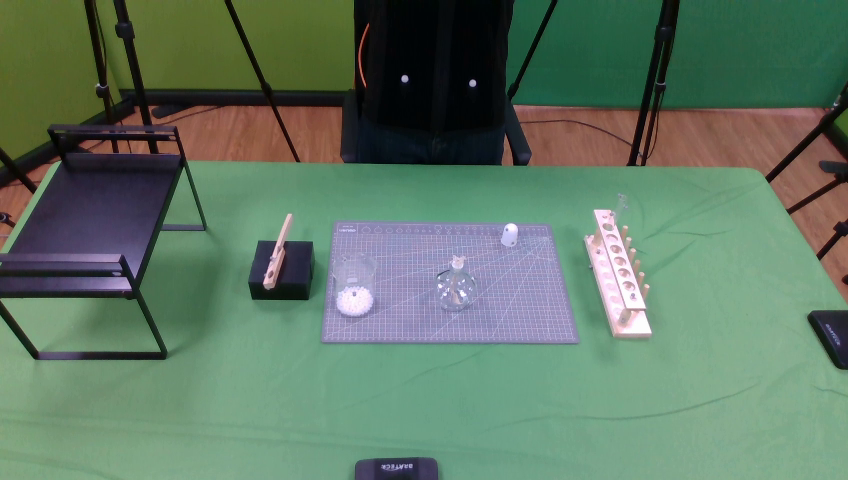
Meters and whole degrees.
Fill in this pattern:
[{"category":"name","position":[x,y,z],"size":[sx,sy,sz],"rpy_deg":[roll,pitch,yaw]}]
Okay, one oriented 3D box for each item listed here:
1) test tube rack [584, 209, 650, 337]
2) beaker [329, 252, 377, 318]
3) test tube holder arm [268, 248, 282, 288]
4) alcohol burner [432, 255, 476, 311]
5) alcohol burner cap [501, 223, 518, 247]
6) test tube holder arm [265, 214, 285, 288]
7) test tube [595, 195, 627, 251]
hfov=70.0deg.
[{"category":"test tube rack","position":[0.365,0.056,1.129],"size":[0.067,0.085,0.240],"rpy_deg":[1,46,-4]},{"category":"beaker","position":[-0.121,0.080,1.055],"size":[0.084,0.101,0.073],"rpy_deg":[-16,50,-19]},{"category":"test tube holder arm","position":[-0.263,0.049,1.068],"size":[0.010,0.015,0.087],"rpy_deg":[5,44,-5]},{"category":"alcohol burner","position":[0.055,0.070,1.068],"size":[0.078,0.119,0.077],"rpy_deg":[3,45,-3]},{"category":"alcohol burner cap","position":[0.172,-0.013,1.206],"size":[0.034,0.048,0.033],"rpy_deg":[1,46,-1]},{"category":"test tube holder arm","position":[-0.270,0.017,1.100],"size":[0.013,0.015,0.177],"rpy_deg":[3,44,-7]},{"category":"test tube","position":[0.350,-0.029,1.140],"size":[0.017,0.151,0.017],"rpy_deg":[3,50,-3]}]
